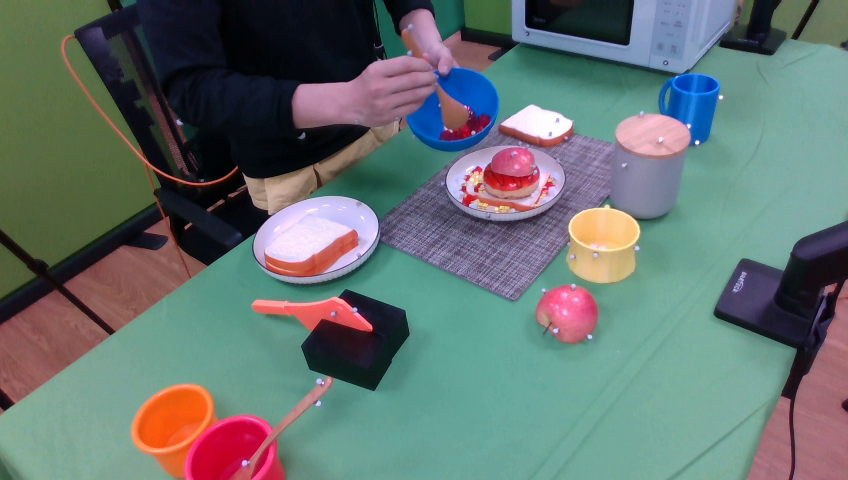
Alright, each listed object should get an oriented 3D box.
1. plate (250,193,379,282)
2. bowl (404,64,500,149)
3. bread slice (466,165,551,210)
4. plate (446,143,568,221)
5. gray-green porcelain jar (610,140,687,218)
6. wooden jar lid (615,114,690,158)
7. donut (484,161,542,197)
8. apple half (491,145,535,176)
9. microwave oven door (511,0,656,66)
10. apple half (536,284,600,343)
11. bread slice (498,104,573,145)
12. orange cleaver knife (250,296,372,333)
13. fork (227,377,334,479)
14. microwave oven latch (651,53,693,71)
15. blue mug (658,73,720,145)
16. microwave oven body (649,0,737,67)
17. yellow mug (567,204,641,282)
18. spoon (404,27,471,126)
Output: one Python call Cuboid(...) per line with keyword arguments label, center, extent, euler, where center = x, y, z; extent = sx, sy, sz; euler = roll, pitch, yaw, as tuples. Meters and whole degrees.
Cuboid(label="plate", center=(-0.174, -0.001, 0.984), extent=(0.209, 0.038, 0.208), euler=(-3, 40, 3))
Cuboid(label="bowl", center=(0.046, -0.199, 0.971), extent=(0.151, 0.077, 0.150), euler=(-2, 63, 4))
Cuboid(label="bread slice", center=(0.141, -0.093, 1.041), extent=(0.133, 0.018, 0.107), euler=(8, 42, 20))
Cuboid(label="plate", center=(0.142, -0.097, 1.045), extent=(0.207, 0.039, 0.206), euler=(-4, 41, 4))
Cuboid(label="gray-green porcelain jar", center=(0.354, -0.106, 0.964), extent=(0.106, 0.127, 0.105), euler=(-4, 41, 4))
Cuboid(label="wooden jar lid", center=(0.347, -0.155, 0.923), extent=(0.108, 0.021, 0.108), euler=(-3, 44, 4))
Cuboid(label="donut", center=(0.149, -0.109, 1.016), extent=(0.099, 0.048, 0.098), euler=(-4, 40, 4))
Cuboid(label="apple half", center=(0.147, -0.138, 0.994), extent=(0.081, 0.033, 0.081), euler=(1, 37, 0))
Cuboid(label="microwave oven door", center=(0.350, -0.539, 1.348), extent=(0.353, 0.245, 0.039), euler=(24, 50, 31))
Cuboid(label="apple half", center=(0.196, 0.091, 0.815), extent=(0.075, 0.053, 0.080), euler=(-22, 42, -20))
Cuboid(label="bread slice", center=(0.231, -0.231, 1.205), extent=(0.105, 0.019, 0.130), euler=(-36, 47, -29))
Cuboid(label="orange cleaver knife", center=(-0.159, 0.103, 0.828), extent=(0.210, 0.078, 0.012), euler=(-4, 43, 39))
Cuboid(label="fork", center=(-0.162, 0.216, 0.647), extent=(0.207, 0.019, 0.028), euler=(-49, 41, 16))
Cuboid(label="microwave oven latch", center=(0.532, -0.386, 1.301), extent=(0.078, 0.029, 0.030), euler=(27, 52, 34))
Cuboid(label="blue mug", center=(0.483, -0.250, 1.127), extent=(0.082, 0.106, 0.115), euler=(-26, 44, -19))
Cuboid(label="microwave oven body", center=(0.475, -0.602, 1.411), extent=(0.438, 0.261, 0.327), euler=(23, 50, 32))
Cuboid(label="yellow mug", center=(0.268, -0.005, 0.905), extent=(0.099, 0.064, 0.130), euler=(6, 41, 15))
Cuboid(label="spoon", center=(0.017, -0.215, 0.817), extent=(0.041, 0.195, 0.021), euler=(-33, 50, 9))
